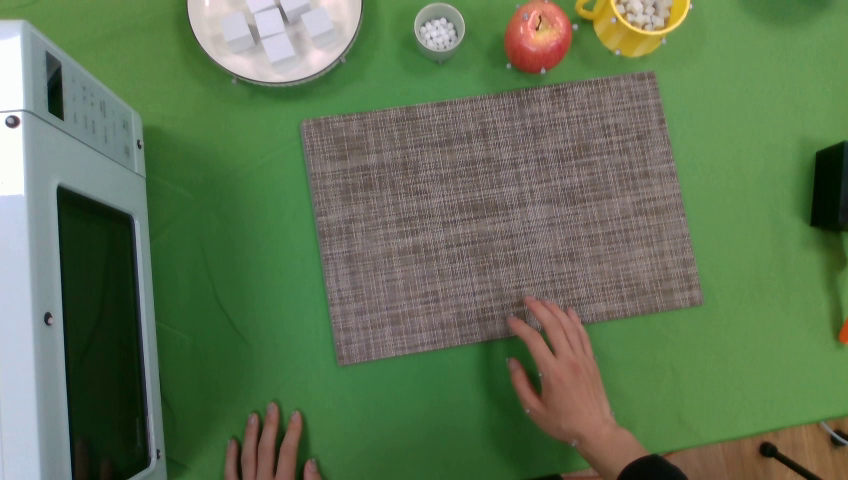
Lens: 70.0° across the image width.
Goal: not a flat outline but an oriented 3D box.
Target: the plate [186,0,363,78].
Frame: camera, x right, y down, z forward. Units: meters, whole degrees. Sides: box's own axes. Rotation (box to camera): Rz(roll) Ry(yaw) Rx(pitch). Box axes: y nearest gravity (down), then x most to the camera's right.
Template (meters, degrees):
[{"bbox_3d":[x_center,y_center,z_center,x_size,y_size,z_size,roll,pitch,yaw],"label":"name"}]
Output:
[{"bbox_3d":[-0.177,-0.293,0.733,0.208,0.039,0.207,0,84,-3],"label":"plate"}]

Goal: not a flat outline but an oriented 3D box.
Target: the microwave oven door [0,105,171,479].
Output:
[{"bbox_3d":[-0.311,0.083,0.568,0.039,0.244,0.355,-7,84,-4],"label":"microwave oven door"}]

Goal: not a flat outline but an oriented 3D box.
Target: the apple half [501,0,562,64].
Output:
[{"bbox_3d":[0.121,-0.247,0.730,0.053,0.074,0.081,-36,91,-2],"label":"apple half"}]

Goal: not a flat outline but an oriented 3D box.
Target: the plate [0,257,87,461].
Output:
[{"bbox_3d":[-0.447,0.120,0.613,0.209,0.038,0.208,0,85,-4],"label":"plate"}]

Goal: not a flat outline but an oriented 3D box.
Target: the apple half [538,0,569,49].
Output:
[{"bbox_3d":[0.153,-0.270,0.733,0.033,0.081,0.081,-36,87,-2],"label":"apple half"}]

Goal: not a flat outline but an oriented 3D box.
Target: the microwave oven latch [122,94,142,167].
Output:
[{"bbox_3d":[-0.340,-0.123,0.688,0.030,0.029,0.079,-5,85,-4],"label":"microwave oven latch"}]

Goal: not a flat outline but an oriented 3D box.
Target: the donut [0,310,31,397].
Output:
[{"bbox_3d":[-0.444,0.114,0.600,0.099,0.048,0.099,0,86,-3],"label":"donut"}]

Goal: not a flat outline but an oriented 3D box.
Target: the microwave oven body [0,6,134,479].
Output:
[{"bbox_3d":[-0.461,0.057,0.566,0.326,0.260,0.440,-6,85,-4],"label":"microwave oven body"}]

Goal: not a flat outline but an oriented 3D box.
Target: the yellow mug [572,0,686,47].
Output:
[{"bbox_3d":[0.247,-0.299,0.745,0.131,0.064,0.099,2,84,-3],"label":"yellow mug"}]

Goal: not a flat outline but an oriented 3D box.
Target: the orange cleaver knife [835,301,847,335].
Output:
[{"bbox_3d":[0.534,0.014,0.721,0.012,0.076,0.212,10,116,0],"label":"orange cleaver knife"}]

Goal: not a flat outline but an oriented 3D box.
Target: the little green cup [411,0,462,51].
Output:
[{"bbox_3d":[0.015,-0.263,0.742,0.061,0.038,0.061,0,84,-3],"label":"little green cup"}]
